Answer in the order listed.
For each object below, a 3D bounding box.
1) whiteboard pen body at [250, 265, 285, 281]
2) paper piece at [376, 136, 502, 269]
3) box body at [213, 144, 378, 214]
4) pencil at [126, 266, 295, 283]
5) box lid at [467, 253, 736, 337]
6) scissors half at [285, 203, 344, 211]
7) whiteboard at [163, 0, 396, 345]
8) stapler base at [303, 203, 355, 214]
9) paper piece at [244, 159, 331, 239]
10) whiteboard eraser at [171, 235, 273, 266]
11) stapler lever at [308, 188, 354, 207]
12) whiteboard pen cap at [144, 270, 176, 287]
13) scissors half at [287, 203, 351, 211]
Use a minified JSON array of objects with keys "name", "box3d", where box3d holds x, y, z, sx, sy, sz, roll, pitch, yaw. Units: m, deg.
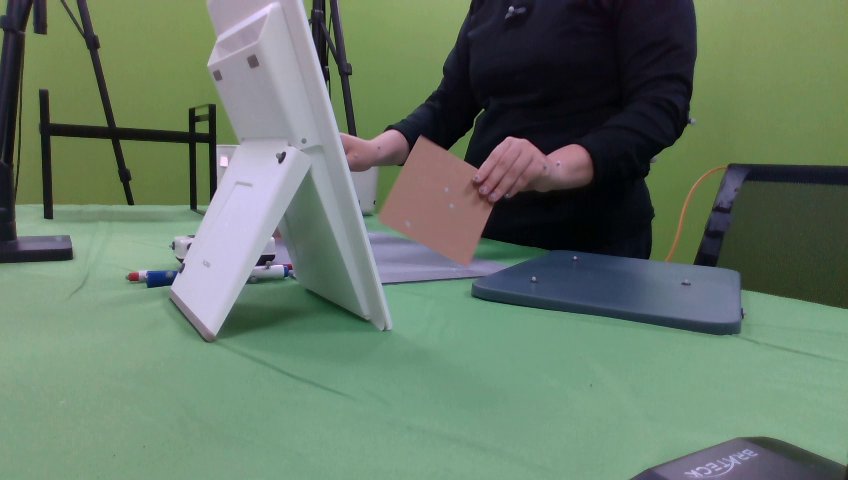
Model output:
[{"name":"whiteboard pen body","box3d":[-0.221,0.039,0.656,0.141,0.017,0.017,-2,9,-31]},{"name":"paper piece","box3d":[0.022,-0.051,0.801,0.135,0.135,0.004,29,-17,-9]},{"name":"box body","box3d":[-0.329,-0.154,1.543,0.366,0.160,0.253,-2,9,-32]},{"name":"pencil","box3d":[-0.232,0.037,0.690,0.195,0.012,0.012,-2,9,-34]},{"name":"box lid","box3d":[0.234,0.054,0.735,0.262,0.015,0.373,6,8,26]},{"name":"scissors half","box3d":[-0.280,-0.083,1.552,0.040,0.013,0.176,-1,6,45]},{"name":"whiteboard","box3d":[-0.173,-0.053,0.511,0.144,0.305,0.216,-23,19,-26]},{"name":"stapler base","box3d":[-0.235,-0.081,1.510,0.131,0.024,0.041,3,10,-35]},{"name":"paper piece","box3d":[-0.224,-0.066,0.999,0.139,0.136,0.008,-3,25,-37]},{"name":"whiteboard eraser","box3d":[-0.249,0.014,0.747,0.113,0.042,0.055,-1,10,-32]},{"name":"stapler lever","box3d":[-0.231,-0.106,1.508,0.119,0.040,0.026,4,10,-35]},{"name":"whiteboard pen cap","box3d":[-0.272,0.039,0.627,0.033,0.018,0.018,-2,9,-32]},{"name":"scissors half","box3d":[-0.269,-0.081,1.534,0.176,0.013,0.040,-7,10,-24]}]
